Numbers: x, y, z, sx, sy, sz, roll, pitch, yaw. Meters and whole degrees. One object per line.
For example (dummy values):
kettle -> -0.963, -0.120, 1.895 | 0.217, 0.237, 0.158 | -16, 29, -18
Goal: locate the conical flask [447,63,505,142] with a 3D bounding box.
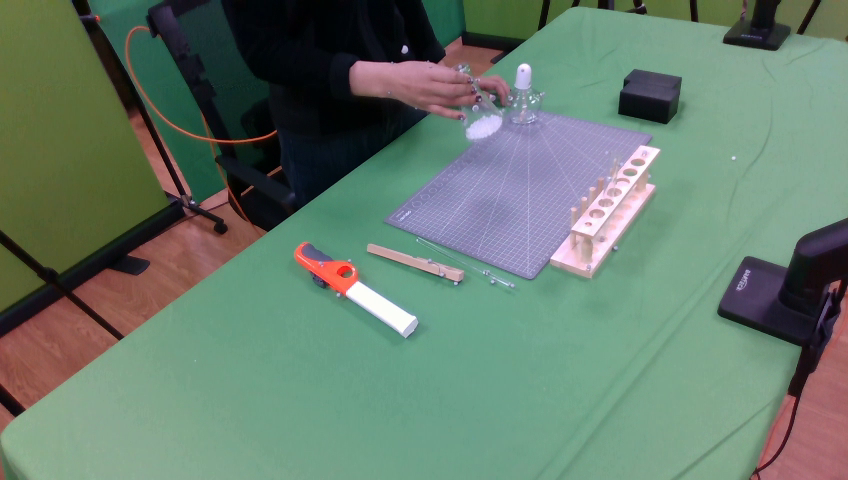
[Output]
conical flask -> 0.080, -0.230, 1.002 | 0.075, 0.122, 0.075 | -22, 31, 14

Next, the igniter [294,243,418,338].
igniter -> -0.114, 0.070, 0.919 | 0.274, 0.025, 0.057 | 29, 63, 37

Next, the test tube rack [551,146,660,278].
test tube rack -> 0.286, -0.053, 0.943 | 0.066, 0.085, 0.243 | 21, 49, 32

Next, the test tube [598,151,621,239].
test tube -> 0.269, -0.062, 0.880 | 0.017, 0.151, 0.017 | -3, 39, 3

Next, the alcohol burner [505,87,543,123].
alcohol burner -> 0.202, -0.298, 1.222 | 0.078, 0.119, 0.077 | -4, 40, 4

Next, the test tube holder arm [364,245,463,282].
test tube holder arm -> -0.020, 0.035, 0.947 | 0.177, 0.015, 0.013 | 16, 10, 26

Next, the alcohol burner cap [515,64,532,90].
alcohol burner cap -> 0.199, -0.325, 1.198 | 0.034, 0.048, 0.033 | 0, 46, 1

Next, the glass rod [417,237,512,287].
glass rod -> 0.059, 0.032, 0.945 | 0.198, 0.008, 0.008 | 26, 52, 38

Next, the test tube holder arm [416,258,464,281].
test tube holder arm -> 0.022, 0.045, 0.931 | 0.087, 0.015, 0.010 | 16, 10, 28
